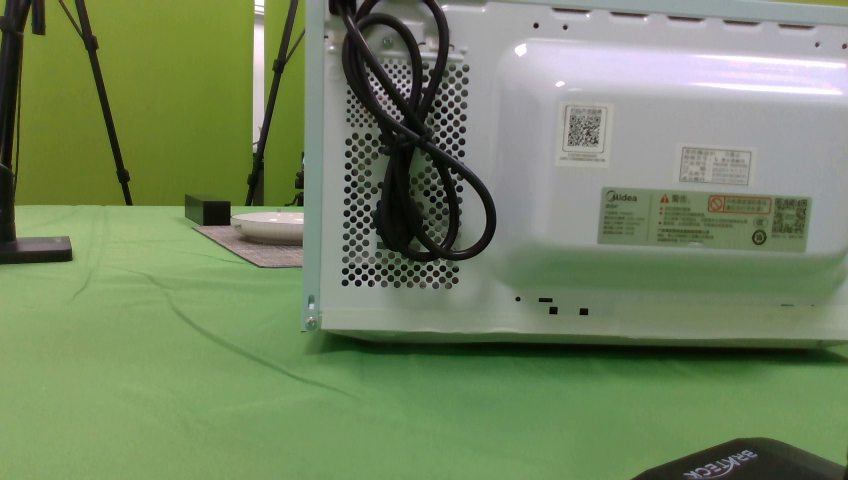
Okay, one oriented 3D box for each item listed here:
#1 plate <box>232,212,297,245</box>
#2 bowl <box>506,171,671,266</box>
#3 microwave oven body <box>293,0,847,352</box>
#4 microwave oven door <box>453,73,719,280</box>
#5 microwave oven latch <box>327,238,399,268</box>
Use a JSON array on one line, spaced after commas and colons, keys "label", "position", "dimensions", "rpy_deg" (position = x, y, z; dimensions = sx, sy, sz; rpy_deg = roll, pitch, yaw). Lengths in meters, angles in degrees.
[{"label": "plate", "position": [-0.214, -0.019, 1.018], "dimensions": [0.208, 0.039, 0.207], "rpy_deg": [2, 7, 0]}, {"label": "bowl", "position": [0.152, -0.021, 0.576], "dimensions": [0.151, 0.077, 0.151], "rpy_deg": [1, 11, 0]}, {"label": "microwave oven body", "position": [0.122, -0.055, 0.550], "dimensions": [0.442, 0.260, 0.325], "rpy_deg": [3, 7, -5]}, {"label": "microwave oven door", "position": [0.194, -0.091, 0.815], "dimensions": [0.354, 0.243, 0.039], "rpy_deg": [8, 9, 38]}, {"label": "microwave oven latch", "position": [-0.069, 0.015, 0.694], "dimensions": [0.079, 0.029, 0.030], "rpy_deg": [3, 7, -3]}]
